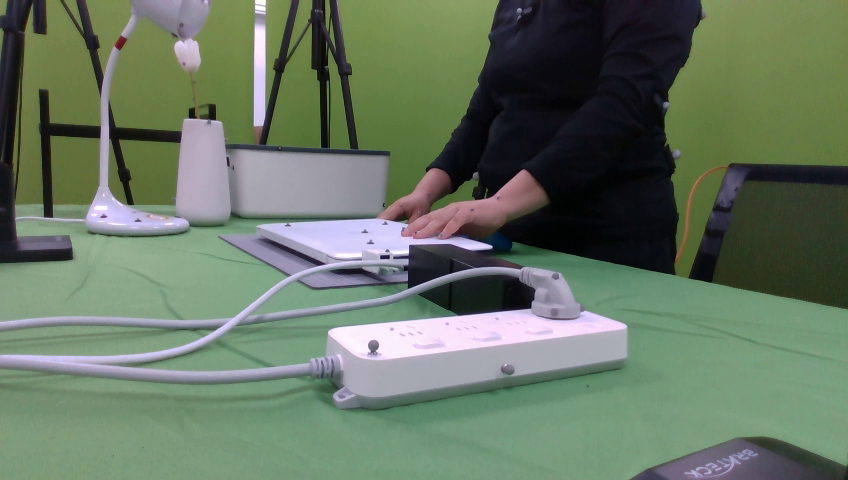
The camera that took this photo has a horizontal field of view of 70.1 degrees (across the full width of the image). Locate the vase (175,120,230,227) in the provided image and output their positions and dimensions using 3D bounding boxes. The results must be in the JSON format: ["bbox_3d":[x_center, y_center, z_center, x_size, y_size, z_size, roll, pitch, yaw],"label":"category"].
[{"bbox_3d":[-0.425,-0.128,1.159,0.098,0.200,0.098,3,10,0],"label":"vase"}]

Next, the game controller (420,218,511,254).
[{"bbox_3d":[0.063,-0.008,1.027,0.154,0.051,0.097,9,13,43],"label":"game controller"}]

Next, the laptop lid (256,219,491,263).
[{"bbox_3d":[-0.092,-0.007,0.911,0.243,0.013,0.355,-3,10,-29],"label":"laptop lid"}]

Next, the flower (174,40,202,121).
[{"bbox_3d":[-0.430,-0.211,1.165,0.044,0.361,0.038,-10,-5,-24],"label":"flower"}]

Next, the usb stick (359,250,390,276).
[{"bbox_3d":[-0.061,0.026,0.709,0.021,0.027,0.059,-1,3,-29],"label":"usb stick"}]

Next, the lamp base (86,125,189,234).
[{"bbox_3d":[-0.497,-0.105,1.027,0.179,0.180,0.160,1,7,3],"label":"lamp base"}]

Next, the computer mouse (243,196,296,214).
[{"bbox_3d":[-0.362,-0.082,1.416,0.117,0.041,0.063,-3,10,5],"label":"computer mouse"}]

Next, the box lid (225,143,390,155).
[{"bbox_3d":[-0.296,-0.217,1.463,0.373,0.015,0.262,-2,8,-29],"label":"box lid"}]

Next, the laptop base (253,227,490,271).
[{"bbox_3d":[-0.096,0.011,0.912,0.237,0.023,0.352,2,7,-32],"label":"laptop base"}]

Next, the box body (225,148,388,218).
[{"bbox_3d":[-0.298,-0.143,1.474,0.366,0.160,0.253,-1,9,-29],"label":"box body"}]

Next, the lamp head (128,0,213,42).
[{"bbox_3d":[-0.423,-0.394,0.980,0.123,0.112,0.112,21,7,-3],"label":"lamp head"}]

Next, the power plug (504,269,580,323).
[{"bbox_3d":[0.092,0.051,0.470,0.035,0.052,0.072,0,6,-16],"label":"power plug"}]

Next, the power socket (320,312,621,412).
[{"bbox_3d":[0.038,0.075,0.409,0.228,0.032,0.072,-2,8,-29],"label":"power socket"}]
